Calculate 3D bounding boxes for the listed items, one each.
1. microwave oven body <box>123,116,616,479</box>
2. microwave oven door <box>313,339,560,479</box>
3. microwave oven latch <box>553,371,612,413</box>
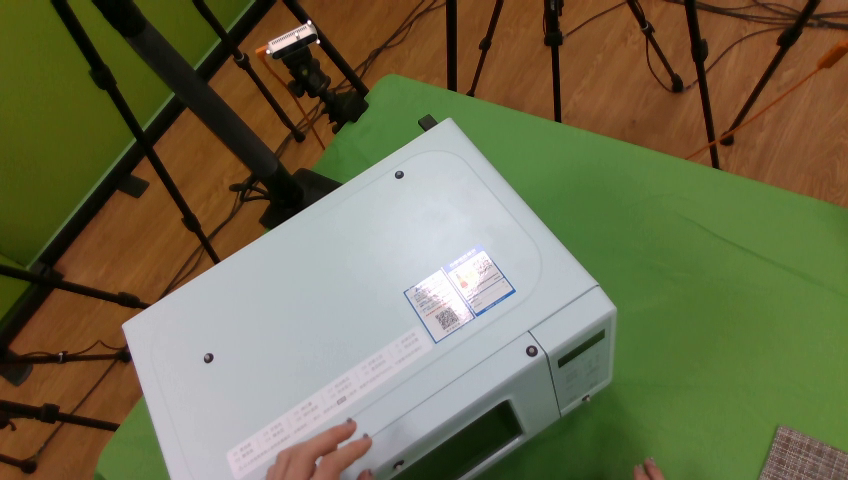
[{"bbox_3d":[-0.055,0.125,0.716,0.442,0.263,0.322,-33,58,-4],"label":"microwave oven body"},{"bbox_3d":[-0.019,0.245,0.632,0.356,0.246,0.039,-33,57,-4],"label":"microwave oven door"},{"bbox_3d":[0.190,0.176,0.734,0.079,0.030,0.030,-32,58,-3],"label":"microwave oven latch"}]
